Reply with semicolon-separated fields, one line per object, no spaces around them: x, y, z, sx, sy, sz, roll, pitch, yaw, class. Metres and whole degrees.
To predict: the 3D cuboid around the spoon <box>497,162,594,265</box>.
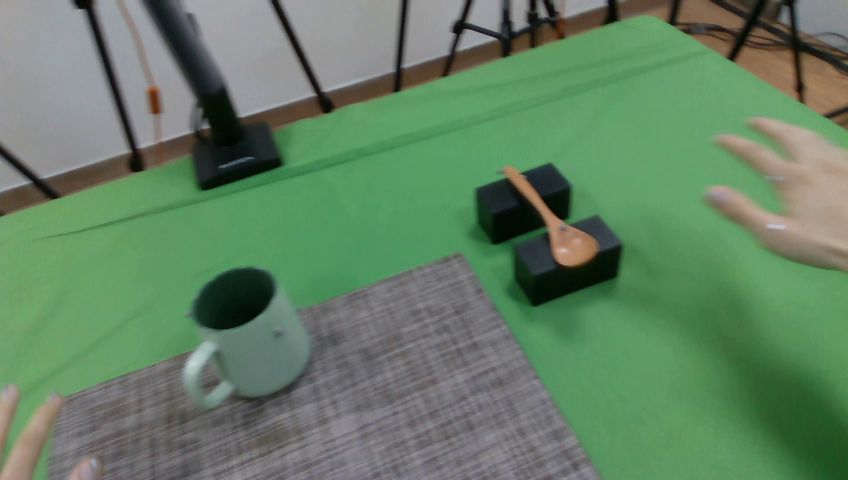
0.122;-0.036;0.646;0.041;0.022;0.191;-34;45;5;spoon

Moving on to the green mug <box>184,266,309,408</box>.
-0.173;0.099;0.570;0.092;0.106;0.125;15;50;23;green mug
